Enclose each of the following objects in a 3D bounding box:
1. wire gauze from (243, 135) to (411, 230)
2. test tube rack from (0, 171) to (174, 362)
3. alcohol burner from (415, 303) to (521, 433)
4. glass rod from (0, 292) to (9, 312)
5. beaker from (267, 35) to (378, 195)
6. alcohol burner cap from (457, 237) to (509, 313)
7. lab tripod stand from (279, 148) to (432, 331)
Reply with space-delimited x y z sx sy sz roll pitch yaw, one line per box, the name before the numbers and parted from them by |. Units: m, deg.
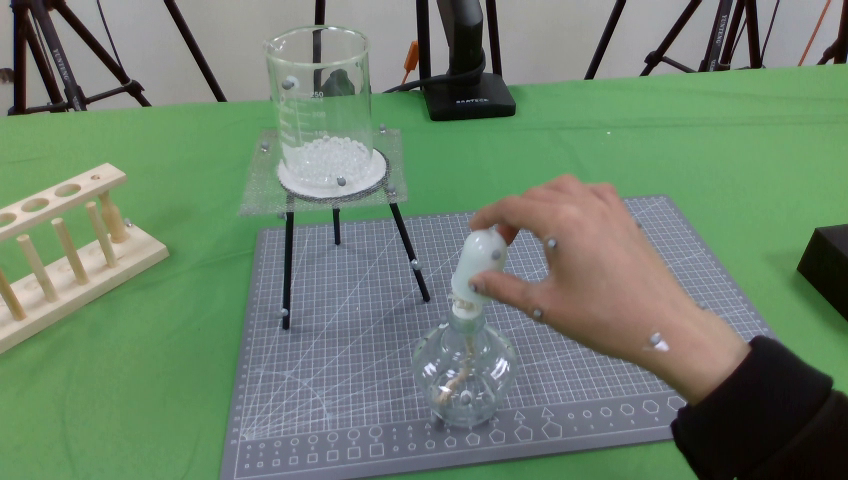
wire gauze | -0.074 -0.052 0.481 0.121 0.011 0.124 -3 40 -3
test tube rack | -0.352 0.035 0.525 0.066 0.086 0.242 26 45 30
alcohol burner | 0.031 0.082 0.431 0.078 0.120 0.077 0 40 0
glass rod | -0.376 -0.023 0.492 0.008 0.201 0.008 0 30 1
beaker | -0.075 -0.092 0.453 0.083 0.101 0.074 20 42 22
alcohol burner cap | 0.039 0.019 0.382 0.034 0.048 0.033 3 42 -2
lab tripod stand | -0.065 -0.002 0.524 0.148 0.132 0.147 1 37 0
